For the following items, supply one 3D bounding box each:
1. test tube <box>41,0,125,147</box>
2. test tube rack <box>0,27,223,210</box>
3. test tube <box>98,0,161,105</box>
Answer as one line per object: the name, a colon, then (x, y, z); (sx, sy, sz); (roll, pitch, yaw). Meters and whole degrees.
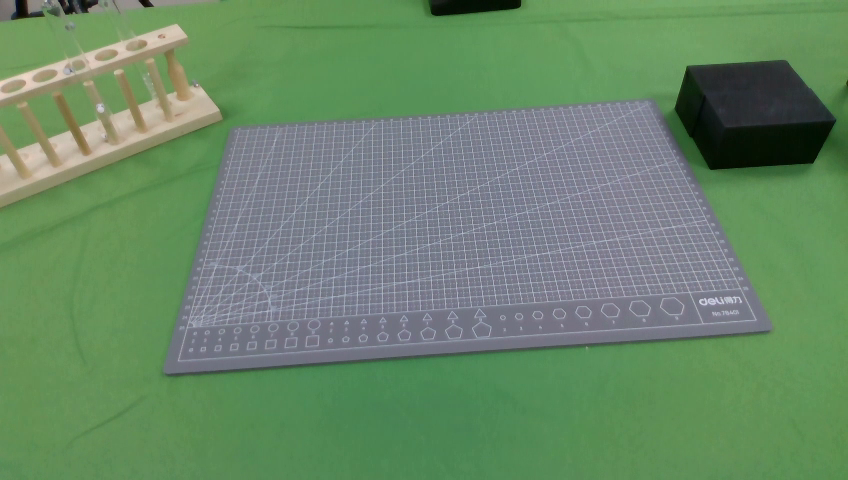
test tube: (-0.316, -0.150, 0.565); (0.017, 0.152, 0.017); (-1, 47, 1)
test tube rack: (-0.337, -0.123, 0.602); (0.242, 0.086, 0.066); (-28, 52, -21)
test tube: (-0.292, -0.196, 0.599); (0.017, 0.152, 0.017); (-3, 50, 4)
